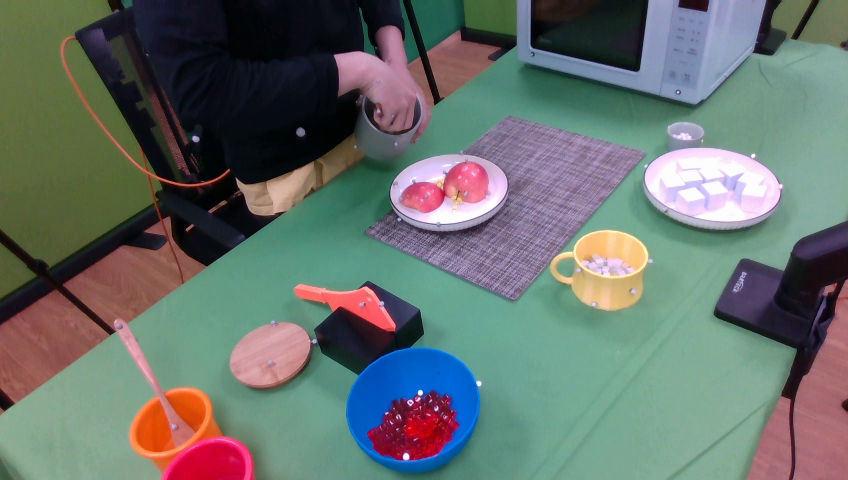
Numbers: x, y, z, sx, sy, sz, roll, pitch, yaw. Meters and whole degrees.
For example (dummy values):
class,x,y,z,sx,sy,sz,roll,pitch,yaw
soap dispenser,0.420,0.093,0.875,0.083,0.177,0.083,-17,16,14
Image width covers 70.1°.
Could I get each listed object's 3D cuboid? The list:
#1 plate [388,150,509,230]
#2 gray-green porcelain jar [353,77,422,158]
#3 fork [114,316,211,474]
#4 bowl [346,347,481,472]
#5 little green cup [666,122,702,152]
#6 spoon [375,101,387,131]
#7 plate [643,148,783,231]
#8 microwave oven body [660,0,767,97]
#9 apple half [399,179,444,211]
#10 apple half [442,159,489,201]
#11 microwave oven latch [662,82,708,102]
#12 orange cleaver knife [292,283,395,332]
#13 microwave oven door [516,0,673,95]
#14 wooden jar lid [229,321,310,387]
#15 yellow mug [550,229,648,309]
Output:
class,x,y,z,sx,sy,sz,roll,pitch,yaw
plate,0.043,-0.083,1.042,0.209,0.038,0.208,-4,40,4
gray-green porcelain jar,-0.069,-0.210,1.068,0.106,0.126,0.105,4,76,-14
fork,-0.308,0.179,0.708,0.028,0.018,0.207,-30,89,-23
bowl,-0.008,0.205,0.691,0.151,0.077,0.150,-4,40,4
little green cup,0.471,-0.184,1.102,0.061,0.039,0.061,-5,41,5
spoon,-0.070,-0.194,1.018,0.022,0.194,0.041,10,79,-2
plate,0.464,-0.080,0.986,0.207,0.039,0.206,-4,41,4
microwave oven body,0.473,-0.516,1.313,0.438,0.261,0.327,26,51,34
apple half,-0.004,-0.087,1.045,0.081,0.033,0.081,-2,43,2
apple half,0.074,-0.110,1.047,0.080,0.053,0.075,21,46,30
microwave oven latch,0.518,-0.299,1.203,0.078,0.029,0.030,29,53,36
orange cleaver knife,-0.115,0.092,0.835,0.209,0.077,0.012,1,32,48
microwave oven door,0.344,-0.458,1.256,0.353,0.245,0.039,26,51,33
wooden jar lid,-0.207,0.156,0.820,0.108,0.021,0.108,-3,39,3
yellow mug,0.245,0.040,0.857,0.130,0.064,0.099,1,42,11
